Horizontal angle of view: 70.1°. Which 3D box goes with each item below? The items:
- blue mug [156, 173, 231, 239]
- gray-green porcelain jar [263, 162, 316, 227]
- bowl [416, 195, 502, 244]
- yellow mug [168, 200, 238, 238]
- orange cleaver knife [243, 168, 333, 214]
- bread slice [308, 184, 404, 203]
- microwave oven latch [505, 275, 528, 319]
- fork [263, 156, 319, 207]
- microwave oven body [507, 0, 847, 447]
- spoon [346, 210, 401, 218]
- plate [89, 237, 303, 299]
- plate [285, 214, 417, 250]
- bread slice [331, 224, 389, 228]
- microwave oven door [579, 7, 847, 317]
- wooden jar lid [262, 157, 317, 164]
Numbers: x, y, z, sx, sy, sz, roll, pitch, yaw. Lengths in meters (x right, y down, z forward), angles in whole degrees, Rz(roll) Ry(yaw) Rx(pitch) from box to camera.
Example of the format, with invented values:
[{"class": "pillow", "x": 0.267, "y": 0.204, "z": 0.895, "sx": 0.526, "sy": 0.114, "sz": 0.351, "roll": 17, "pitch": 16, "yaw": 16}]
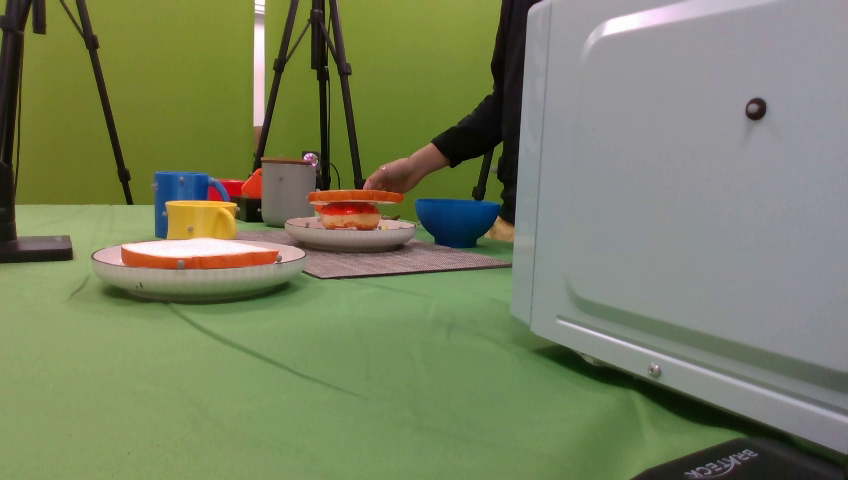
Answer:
[{"class": "blue mug", "x": -0.381, "y": -0.057, "z": 1.004, "sx": 0.117, "sy": 0.106, "sz": 0.082, "roll": 0, "pitch": 8, "yaw": -12}, {"class": "gray-green porcelain jar", "x": -0.271, "y": -0.092, "z": 1.217, "sx": 0.106, "sy": 0.126, "sz": 0.106, "roll": 2, "pitch": 7, "yaw": 0}, {"class": "bowl", "x": 0.059, "y": -0.035, "z": 1.049, "sx": 0.151, "sy": 0.077, "sz": 0.151, "roll": 2, "pitch": 7, "yaw": 0}, {"class": "yellow mug", "x": -0.320, "y": -0.023, "z": 0.904, "sx": 0.130, "sy": 0.064, "sz": 0.100, "roll": 9, "pitch": 10, "yaw": 36}, {"class": "orange cleaver knife", "x": -0.300, "y": -0.089, "z": 1.351, "sx": 0.212, "sy": 0.077, "sz": 0.012, "roll": 28, "pitch": -9, "yaw": -34}, {"class": "bread slice", "x": -0.114, "y": -0.072, "z": 0.953, "sx": 0.134, "sy": 0.018, "sz": 0.107, "roll": -3, "pitch": -1, "yaw": 21}, {"class": "microwave oven latch", "x": 0.100, "y": 0.042, "z": 0.471, "sx": 0.079, "sy": 0.029, "sz": 0.030, "roll": -2, "pitch": 7, "yaw": -29}, {"class": "fork", "x": -0.331, "y": -0.144, "z": 1.505, "sx": 0.207, "sy": 0.018, "sz": 0.028, "roll": -42, "pitch": -21, "yaw": 22}, {"class": "microwave oven body", "x": 0.331, "y": -0.042, "z": 0.425, "sx": 0.444, "sy": 0.260, "sz": 0.324, "roll": -2, "pitch": 8, "yaw": -31}, {"class": "spoon", "x": -0.120, "y": -0.060, "z": 1.400, "sx": 0.042, "sy": 0.021, "sz": 0.192, "roll": -28, "pitch": 25, "yaw": -38}, {"class": "plate", "x": -0.233, "y": 0.029, "z": 0.637, "sx": 0.208, "sy": 0.039, "sz": 0.207, "roll": 2, "pitch": 7, "yaw": 0}, {"class": "plate", "x": -0.116, "y": -0.014, "z": 0.964, "sx": 0.209, "sy": 0.038, "sz": 0.209, "roll": 2, "pitch": 8, "yaw": 0}, {"class": "bread slice", "x": -0.103, "y": -0.011, "z": 0.961, "sx": 0.131, "sy": 0.019, "sz": 0.105, "roll": 3, "pitch": 8, "yaw": 24}, {"class": "microwave oven door", "x": 0.294, "y": -0.067, "z": 0.570, "sx": 0.358, "sy": 0.243, "sz": 0.039, "roll": -3, "pitch": 9, "yaw": -31}, {"class": "wooden jar lid", "x": -0.269, "y": -0.154, "z": 1.208, "sx": 0.108, "sy": 0.020, "sz": 0.108, "roll": 3, "pitch": 4, "yaw": 0}]
